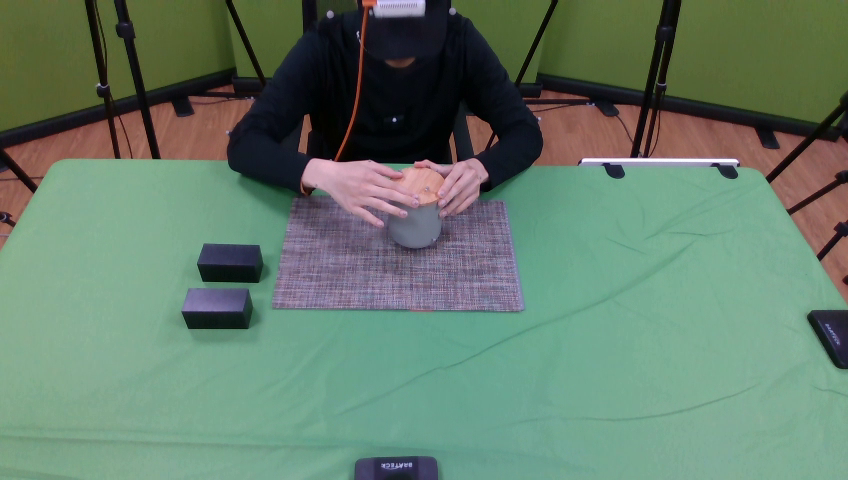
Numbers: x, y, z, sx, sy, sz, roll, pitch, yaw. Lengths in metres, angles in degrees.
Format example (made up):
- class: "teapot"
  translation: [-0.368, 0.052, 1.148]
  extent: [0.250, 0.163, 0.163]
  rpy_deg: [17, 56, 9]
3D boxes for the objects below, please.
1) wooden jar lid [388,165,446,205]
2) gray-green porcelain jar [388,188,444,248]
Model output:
- class: "wooden jar lid"
  translation: [-0.013, -0.098, 1.127]
  extent: [0.108, 0.021, 0.107]
  rpy_deg: [1, 45, -1]
- class: "gray-green porcelain jar"
  translation: [-0.017, -0.057, 1.172]
  extent: [0.106, 0.127, 0.105]
  rpy_deg: [2, 46, -2]
